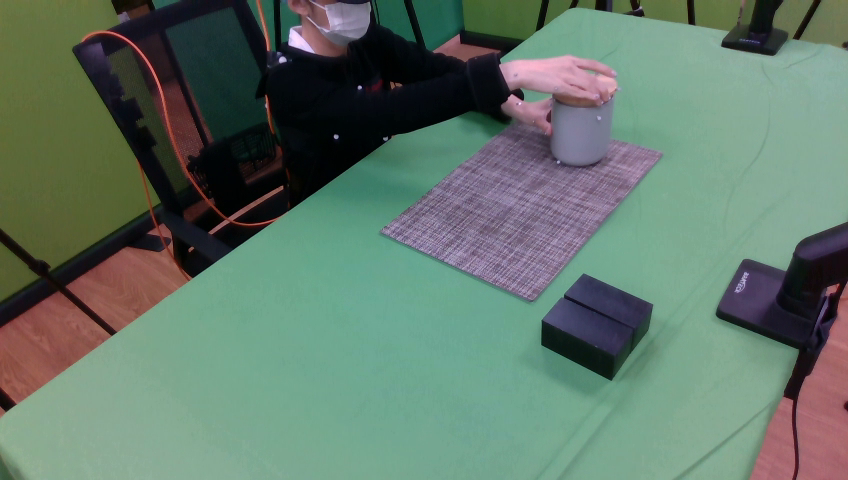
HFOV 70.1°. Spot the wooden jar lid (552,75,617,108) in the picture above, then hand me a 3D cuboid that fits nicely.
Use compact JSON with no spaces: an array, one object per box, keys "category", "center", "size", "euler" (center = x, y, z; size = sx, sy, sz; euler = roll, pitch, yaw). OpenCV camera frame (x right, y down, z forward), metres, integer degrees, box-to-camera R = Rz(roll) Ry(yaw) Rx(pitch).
[{"category":"wooden jar lid","center":[0.276,-0.255,1.043],"size":[0.108,0.021,0.108],"euler":[-6,35,5]}]

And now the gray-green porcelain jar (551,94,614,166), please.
[{"category":"gray-green porcelain jar","center":[0.282,-0.205,1.087],"size":[0.106,0.127,0.105],"euler":[-5,40,4]}]
